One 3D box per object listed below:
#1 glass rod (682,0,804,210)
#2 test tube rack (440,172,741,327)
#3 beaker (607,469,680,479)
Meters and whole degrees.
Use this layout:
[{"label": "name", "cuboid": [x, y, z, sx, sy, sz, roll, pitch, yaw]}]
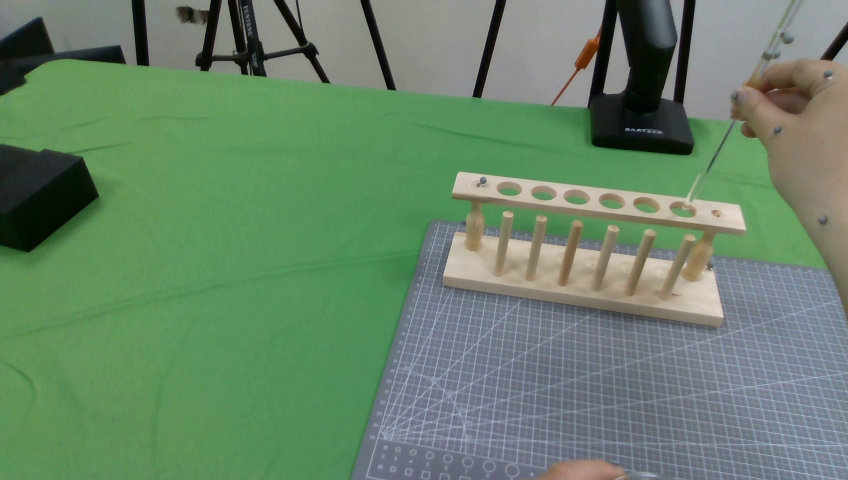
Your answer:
[{"label": "glass rod", "cuboid": [0.220, -0.086, 0.429, 0.008, 0.201, 0.008, 0, 53, 0]}, {"label": "test tube rack", "cuboid": [0.140, 0.007, 0.537, 0.242, 0.086, 0.066, 8, 42, 8]}, {"label": "beaker", "cuboid": [0.103, 0.179, 0.313, 0.084, 0.101, 0.073, -1, 41, -8]}]
